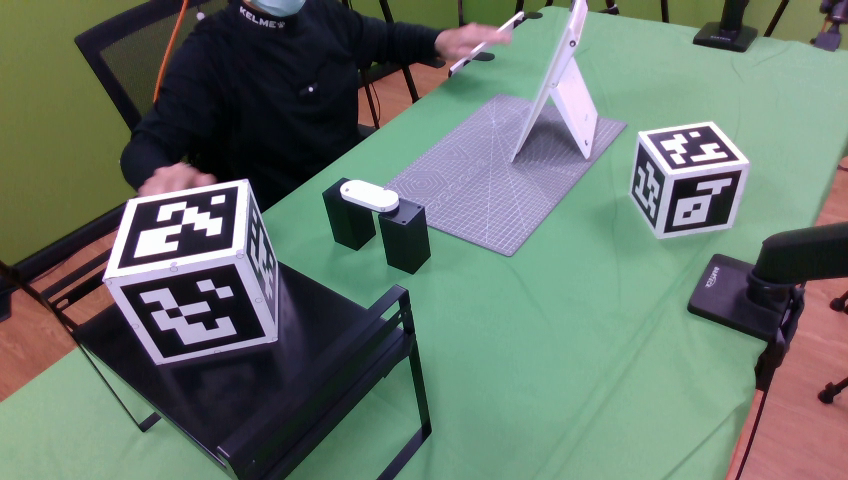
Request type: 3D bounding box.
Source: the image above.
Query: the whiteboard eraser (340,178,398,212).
[{"bbox_3d":[-0.083,-0.068,0.906,0.100,0.019,0.041,20,49,29],"label":"whiteboard eraser"}]

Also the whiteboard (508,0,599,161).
[{"bbox_3d":[0.285,-0.289,1.088,0.144,0.305,0.217,22,45,3],"label":"whiteboard"}]
